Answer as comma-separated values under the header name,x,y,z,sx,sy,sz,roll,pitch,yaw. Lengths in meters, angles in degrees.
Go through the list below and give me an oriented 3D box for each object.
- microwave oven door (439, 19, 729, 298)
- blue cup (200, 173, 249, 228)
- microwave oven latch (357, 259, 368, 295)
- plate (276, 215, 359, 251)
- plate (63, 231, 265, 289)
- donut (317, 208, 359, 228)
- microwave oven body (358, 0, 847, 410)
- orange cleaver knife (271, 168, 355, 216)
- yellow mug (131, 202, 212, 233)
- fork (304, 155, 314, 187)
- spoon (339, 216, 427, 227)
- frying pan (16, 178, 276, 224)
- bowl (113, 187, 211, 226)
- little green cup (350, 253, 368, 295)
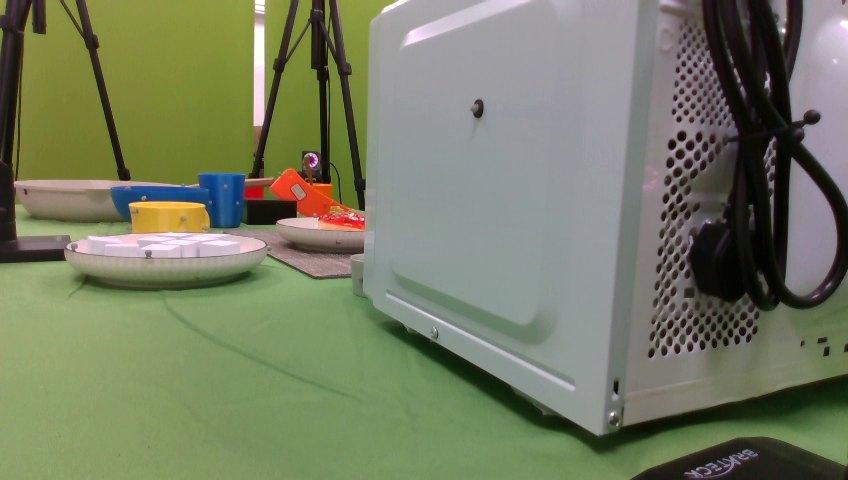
name,x,y,z,sx,sy,sz,roll,pitch,yaw
microwave oven door,0.181,-0.076,0.618,0.358,0.243,0.039,-2,8,-28
blue cup,-0.380,-0.076,1.155,0.093,0.100,0.092,0,8,0
microwave oven latch,-0.019,0.031,0.529,0.079,0.029,0.030,-1,7,-26
plate,-0.126,-0.012,0.950,0.209,0.038,0.209,2,7,0
plate,-0.288,0.021,0.687,0.208,0.039,0.207,2,8,0
donut,-0.118,-0.024,0.954,0.099,0.048,0.099,6,6,0
microwave oven body,0.210,-0.051,0.471,0.444,0.260,0.324,-1,7,-28
orange cleaver knife,-0.236,-0.084,1.333,0.212,0.077,0.012,31,-9,-32
yellow mug,-0.356,-0.020,0.878,0.099,0.064,0.131,5,7,21
fork,-0.268,-0.134,1.446,0.028,0.018,0.207,1,-36,-1
spoon,-0.087,-0.041,1.268,0.193,0.021,0.041,3,20,14
frying pan,-0.554,-0.097,1.266,0.490,0.102,0.305,-10,13,-24
bowl,-0.436,-0.046,1.013,0.151,0.077,0.151,2,7,0
little green cup,-0.048,0.035,0.632,0.061,0.038,0.061,3,6,0
